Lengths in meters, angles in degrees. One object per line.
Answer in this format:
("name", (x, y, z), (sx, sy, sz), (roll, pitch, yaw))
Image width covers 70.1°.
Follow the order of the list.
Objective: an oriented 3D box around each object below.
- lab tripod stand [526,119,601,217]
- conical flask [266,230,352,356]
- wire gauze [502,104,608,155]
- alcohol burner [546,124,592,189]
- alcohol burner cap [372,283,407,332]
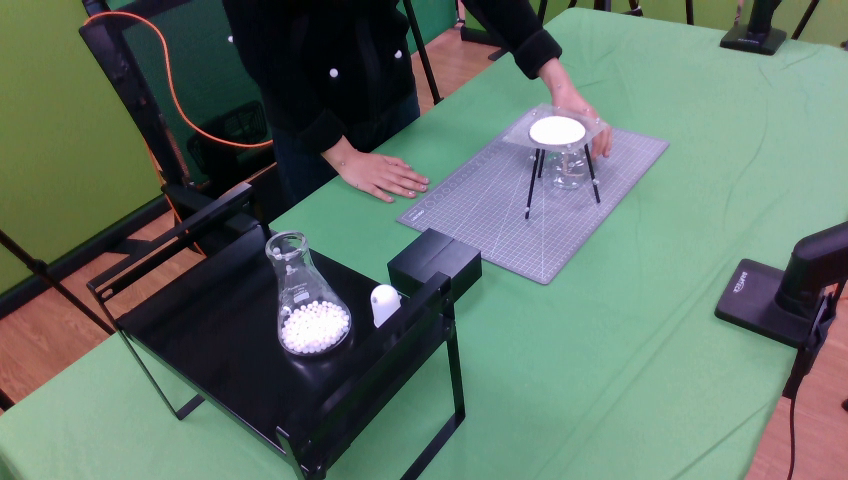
("lab tripod stand", (0.220, -0.122, 0.995), (0.148, 0.132, 0.147), (-3, 39, 3))
("conical flask", (-0.117, 0.047, 0.580), (0.075, 0.122, 0.075), (-5, 40, 4))
("wire gauze", (0.207, -0.173, 0.953), (0.120, 0.011, 0.125), (24, 48, 31))
("alcohol burner", (0.249, -0.148, 1.037), (0.078, 0.119, 0.077), (-5, 38, 4))
("alcohol burner cap", (-0.036, 0.066, 0.608), (0.034, 0.048, 0.033), (-6, 38, 5))
